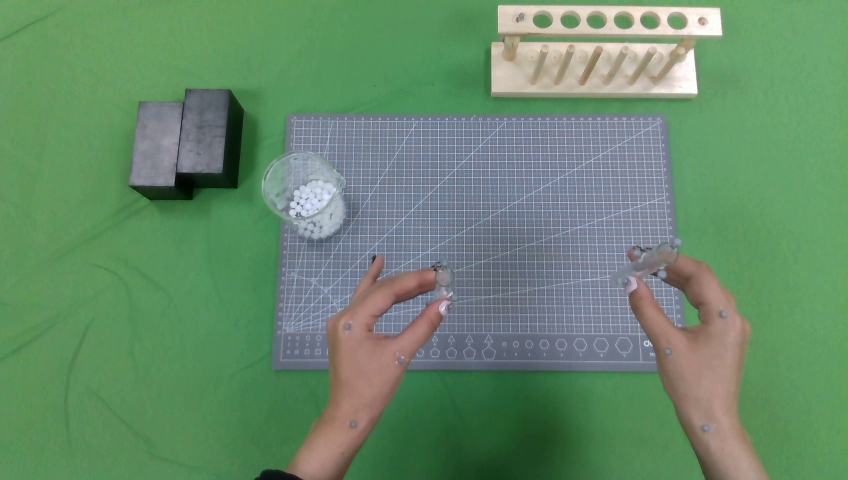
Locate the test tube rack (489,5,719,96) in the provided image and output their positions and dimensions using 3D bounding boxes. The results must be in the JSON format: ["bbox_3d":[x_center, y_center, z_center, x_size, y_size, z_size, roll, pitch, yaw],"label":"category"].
[{"bbox_3d":[0.199,-0.215,0.695,0.242,0.085,0.066,1,77,1],"label":"test tube rack"}]

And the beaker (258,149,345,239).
[{"bbox_3d":[-0.123,-0.045,0.648,0.084,0.100,0.073,-7,77,-2],"label":"beaker"}]

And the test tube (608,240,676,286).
[{"bbox_3d":[0.171,0.021,0.487,0.017,0.151,0.017,-1,79,4],"label":"test tube"}]

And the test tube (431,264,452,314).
[{"bbox_3d":[0.015,0.045,0.517,0.017,0.151,0.017,0,74,1],"label":"test tube"}]
